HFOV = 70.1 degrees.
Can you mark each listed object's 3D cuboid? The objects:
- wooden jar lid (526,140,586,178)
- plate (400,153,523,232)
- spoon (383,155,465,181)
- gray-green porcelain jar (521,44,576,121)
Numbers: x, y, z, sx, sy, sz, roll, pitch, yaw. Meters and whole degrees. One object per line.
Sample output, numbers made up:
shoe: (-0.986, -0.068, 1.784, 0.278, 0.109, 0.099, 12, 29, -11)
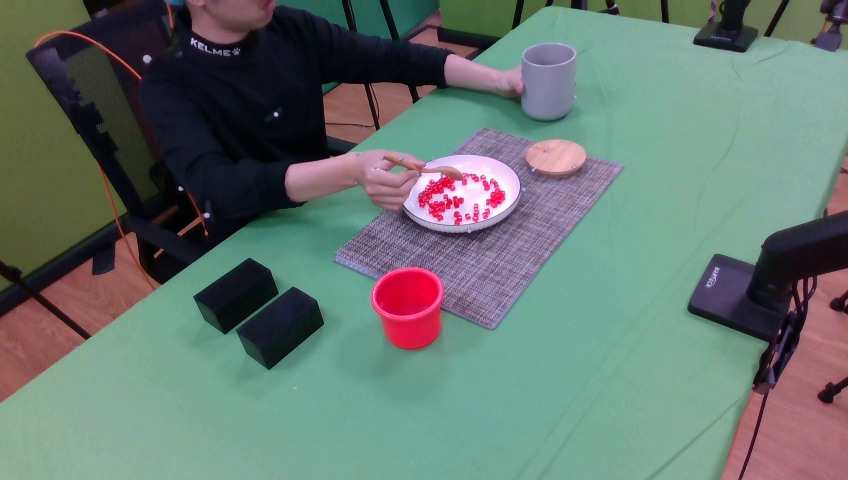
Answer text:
wooden jar lid: (0.240, -0.147, 1.103, 0.108, 0.021, 0.108, -4, 42, 4)
plate: (0.065, -0.078, 1.034, 0.207, 0.039, 0.206, -4, 41, 4)
spoon: (0.003, -0.113, 0.960, 0.041, 0.021, 0.195, 14, 8, 37)
gray-green porcelain jar: (0.249, -0.313, 1.219, 0.106, 0.127, 0.105, -4, 41, 4)
